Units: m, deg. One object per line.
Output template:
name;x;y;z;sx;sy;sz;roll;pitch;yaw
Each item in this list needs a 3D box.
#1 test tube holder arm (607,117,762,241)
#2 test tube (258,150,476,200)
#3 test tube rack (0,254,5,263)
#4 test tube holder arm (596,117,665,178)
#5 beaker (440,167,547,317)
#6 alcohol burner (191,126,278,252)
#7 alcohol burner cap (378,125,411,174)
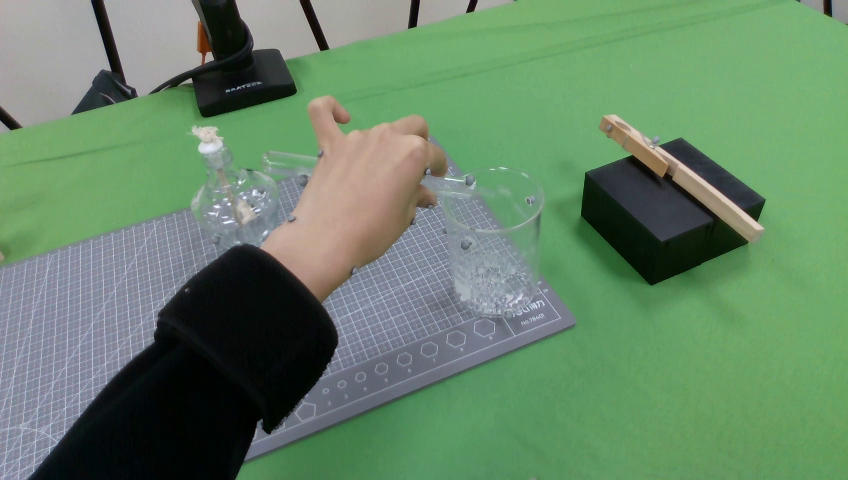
test tube holder arm;0.207;-0.057;0.504;0.013;0.015;0.176;-16;44;-22
test tube;-0.037;-0.045;0.419;0.151;0.017;0.017;7;43;-8
test tube rack;-0.515;0.041;0.515;0.066;0.086;0.242;31;55;33
test tube holder arm;0.182;-0.082;0.532;0.010;0.015;0.087;-16;44;-21
beaker;0.051;0.004;0.467;0.083;0.101;0.074;26;53;31
alcohol burner;-0.174;-0.047;0.539;0.078;0.120;0.077;-5;43;5
alcohol burner cap;-0.033;-0.096;0.623;0.034;0.048;0.033;-3;44;4
